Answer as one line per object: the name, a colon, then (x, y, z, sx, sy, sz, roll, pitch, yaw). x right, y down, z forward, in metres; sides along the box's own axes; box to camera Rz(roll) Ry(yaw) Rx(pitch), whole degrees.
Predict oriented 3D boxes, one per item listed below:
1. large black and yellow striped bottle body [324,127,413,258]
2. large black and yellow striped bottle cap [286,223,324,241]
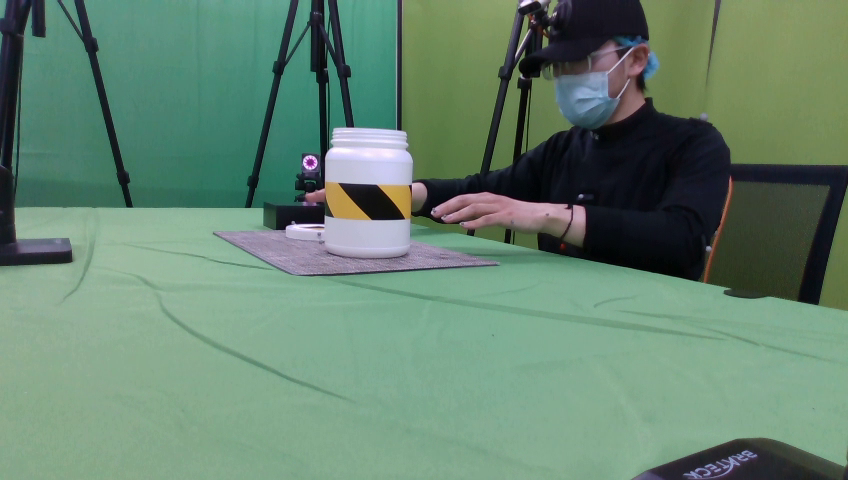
large black and yellow striped bottle body: (-0.082, -0.073, 0.899, 0.131, 0.184, 0.130, 2, 8, 0)
large black and yellow striped bottle cap: (-0.187, -0.015, 1.077, 0.115, 0.019, 0.115, 2, 9, 0)
